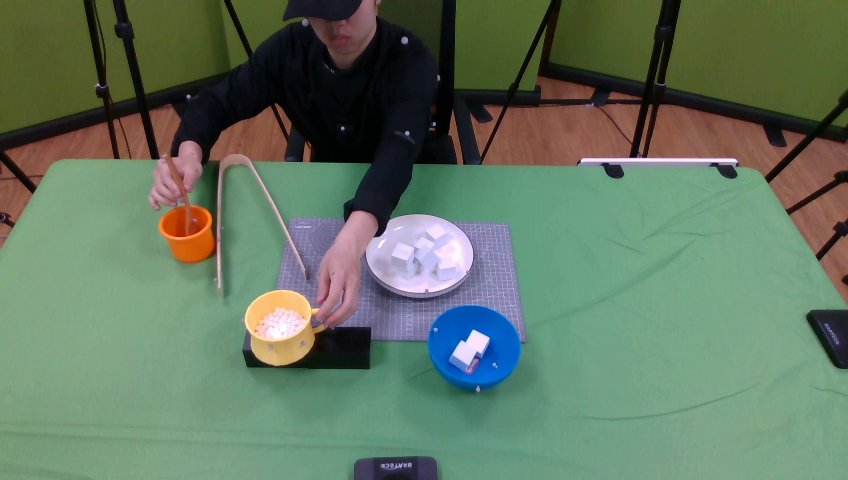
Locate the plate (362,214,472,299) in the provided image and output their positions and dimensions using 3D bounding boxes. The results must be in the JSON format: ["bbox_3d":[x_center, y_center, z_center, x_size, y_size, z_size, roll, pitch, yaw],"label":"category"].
[{"bbox_3d":[-0.014,0.034,1.149,0.208,0.039,0.206,3,46,-2],"label":"plate"}]

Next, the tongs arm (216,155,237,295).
[{"bbox_3d":[-0.388,-0.043,1.201,0.051,0.026,0.382,-9,46,-13],"label":"tongs arm"}]

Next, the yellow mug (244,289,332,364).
[{"bbox_3d":[-0.211,0.133,0.953,0.131,0.064,0.099,-9,47,-14],"label":"yellow mug"}]

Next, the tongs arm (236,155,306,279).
[{"bbox_3d":[-0.312,-0.058,1.225,0.028,0.028,0.385,-22,50,-19],"label":"tongs arm"}]

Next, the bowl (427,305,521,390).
[{"bbox_3d":[0.076,0.188,0.985,0.151,0.077,0.150,3,46,-3],"label":"bowl"}]

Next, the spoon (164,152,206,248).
[{"bbox_3d":[-0.436,-0.070,1.106,0.021,0.194,0.041,5,32,17],"label":"spoon"}]
